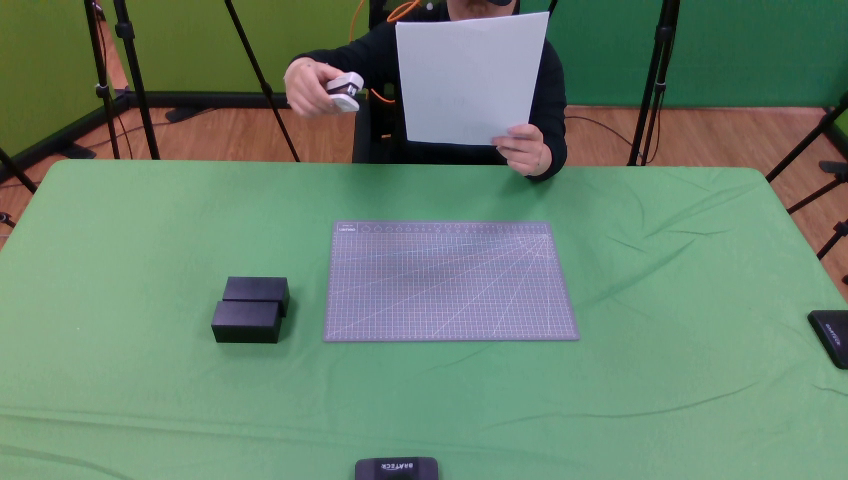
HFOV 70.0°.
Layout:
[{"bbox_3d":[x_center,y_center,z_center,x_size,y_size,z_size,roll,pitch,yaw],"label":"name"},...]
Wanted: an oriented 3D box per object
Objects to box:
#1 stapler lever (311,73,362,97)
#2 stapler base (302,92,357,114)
[{"bbox_3d":[-0.148,-0.258,1.028,0.117,0.027,0.040,10,72,50],"label":"stapler lever"},{"bbox_3d":[-0.156,-0.236,1.024,0.130,0.041,0.024,8,71,50],"label":"stapler base"}]
